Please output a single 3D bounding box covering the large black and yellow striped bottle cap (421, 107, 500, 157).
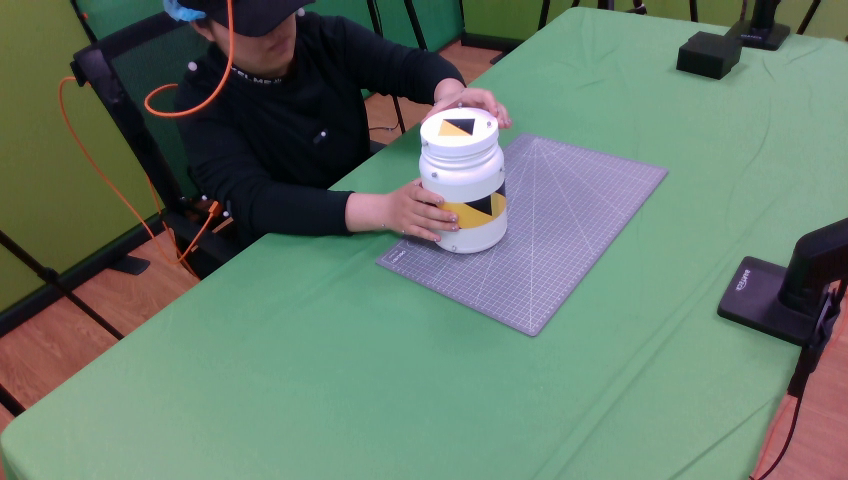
[{"bbox_3d":[0.052,-0.159,0.880,0.115,0.019,0.114,-6,39,6],"label":"large black and yellow striped bottle cap"}]

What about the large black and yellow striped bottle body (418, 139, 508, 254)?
[{"bbox_3d":[0.062,-0.085,0.942,0.131,0.185,0.130,-5,40,5],"label":"large black and yellow striped bottle body"}]
